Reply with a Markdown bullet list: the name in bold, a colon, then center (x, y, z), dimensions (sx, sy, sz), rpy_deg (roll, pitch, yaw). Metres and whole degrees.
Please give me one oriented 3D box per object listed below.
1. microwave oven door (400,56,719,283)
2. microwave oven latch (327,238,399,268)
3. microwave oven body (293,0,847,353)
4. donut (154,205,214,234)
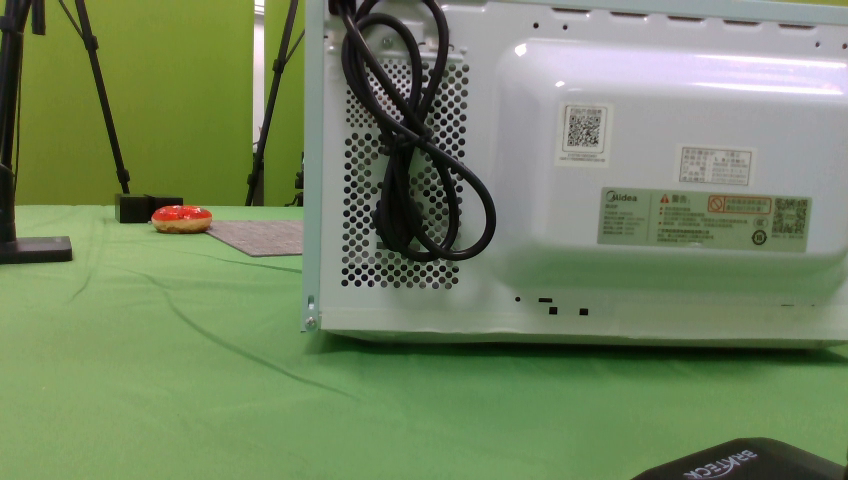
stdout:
- **microwave oven door**: center (0.155, -0.077, 0.697), dimensions (0.356, 0.243, 0.039), rpy_deg (2, 8, -5)
- **microwave oven latch**: center (-0.069, 0.015, 0.694), dimensions (0.079, 0.029, 0.030), rpy_deg (3, 7, -3)
- **microwave oven body**: center (0.122, -0.055, 0.550), dimensions (0.442, 0.260, 0.325), rpy_deg (3, 7, -5)
- **donut**: center (-0.426, -0.037, 1.075), dimensions (0.099, 0.048, 0.099), rpy_deg (2, 12, 0)
